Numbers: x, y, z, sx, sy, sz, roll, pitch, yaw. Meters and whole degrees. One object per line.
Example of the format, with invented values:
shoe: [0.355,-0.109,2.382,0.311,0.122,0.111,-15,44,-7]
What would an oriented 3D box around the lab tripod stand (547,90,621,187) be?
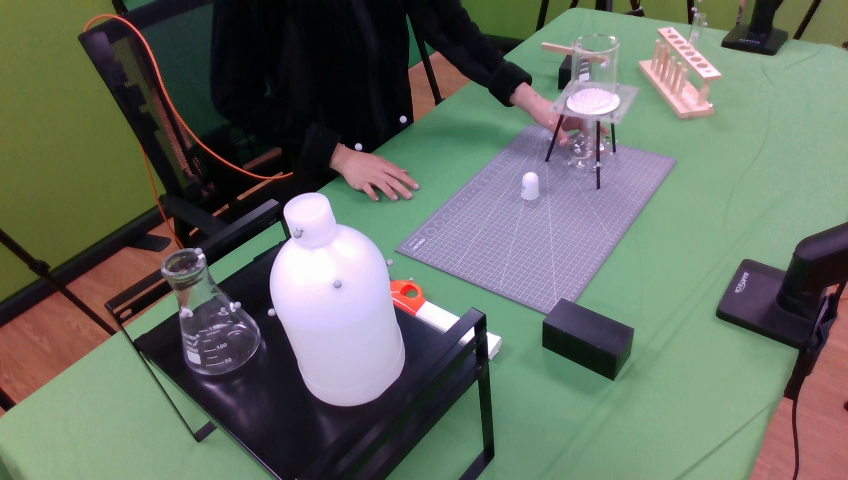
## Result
lab tripod stand: [0.289,-0.184,1.062,0.148,0.132,0.147,-6,41,6]

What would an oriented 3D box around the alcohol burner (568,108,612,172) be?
alcohol burner: [0.296,-0.182,1.074,0.078,0.119,0.077,-5,42,5]

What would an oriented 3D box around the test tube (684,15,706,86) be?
test tube: [0.540,-0.378,1.215,0.017,0.151,0.017,-2,44,3]

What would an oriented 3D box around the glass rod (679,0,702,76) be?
glass rod: [0.543,-0.417,1.233,0.008,0.200,0.008,1,40,0]

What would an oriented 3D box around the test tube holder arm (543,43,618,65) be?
test tube holder arm: [0.345,-0.413,1.341,0.177,0.015,0.013,25,50,31]

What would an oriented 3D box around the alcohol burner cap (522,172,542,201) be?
alcohol burner cap: [0.186,-0.096,1.047,0.034,0.048,0.033,-6,37,5]

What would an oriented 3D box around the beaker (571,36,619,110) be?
beaker: [0.281,-0.273,0.992,0.084,0.101,0.073,-24,42,-16]

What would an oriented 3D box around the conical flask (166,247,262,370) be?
conical flask: [-0.209,0.064,0.584,0.075,0.122,0.075,-5,40,4]

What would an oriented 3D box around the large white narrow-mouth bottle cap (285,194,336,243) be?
large white narrow-mouth bottle cap: [-0.087,-0.017,0.468,0.038,0.024,0.037,-5,40,4]

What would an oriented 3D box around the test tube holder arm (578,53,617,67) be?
test tube holder arm: [0.376,-0.393,1.314,0.087,0.015,0.010,26,50,32]

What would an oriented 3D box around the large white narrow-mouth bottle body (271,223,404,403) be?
large white narrow-mouth bottle body: [-0.077,0.048,0.525,0.102,0.195,0.101,-5,40,5]

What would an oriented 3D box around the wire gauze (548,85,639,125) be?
wire gauze: [0.286,-0.233,1.020,0.124,0.011,0.122,15,43,30]

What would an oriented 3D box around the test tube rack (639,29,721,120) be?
test tube rack: [0.527,-0.351,1.262,0.067,0.085,0.241,-8,40,1]

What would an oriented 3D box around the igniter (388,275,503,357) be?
igniter: [-0.009,0.093,0.870,0.274,0.025,0.057,24,59,33]
